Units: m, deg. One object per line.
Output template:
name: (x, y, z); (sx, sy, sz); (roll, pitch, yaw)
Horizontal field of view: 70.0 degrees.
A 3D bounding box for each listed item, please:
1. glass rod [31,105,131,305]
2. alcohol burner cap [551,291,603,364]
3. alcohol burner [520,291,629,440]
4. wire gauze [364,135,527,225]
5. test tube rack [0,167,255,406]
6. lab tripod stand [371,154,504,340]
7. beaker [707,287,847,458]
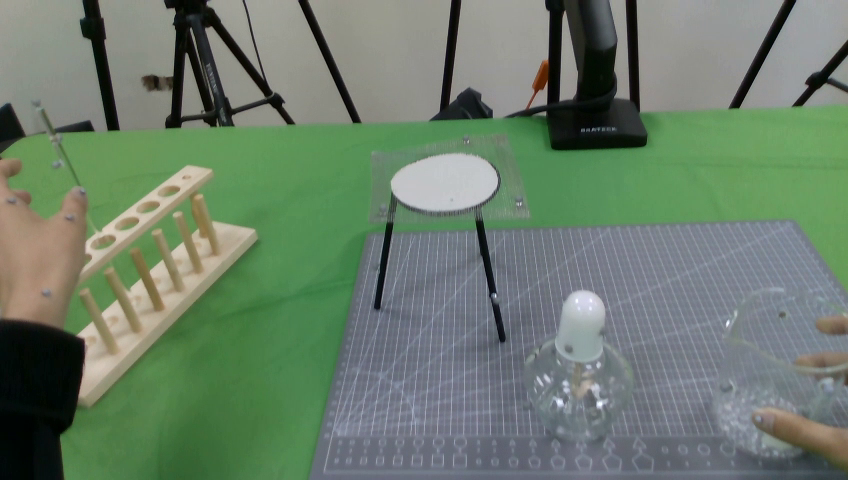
glass rod: (-0.301, -0.023, 0.539); (0.008, 0.201, 0.008); (-7, 31, 4)
alcohol burner cap: (0.104, 0.057, 0.407); (0.034, 0.048, 0.033); (-1, 35, 1)
alcohol burner: (0.107, 0.085, 0.429); (0.078, 0.120, 0.077); (-4, 35, 3)
wire gauze: (0.012, -0.049, 0.489); (0.125, 0.011, 0.120); (-5, 37, 1)
test tube rack: (-0.268, 0.030, 0.575); (0.066, 0.086, 0.241); (11, 40, 20)
lab tripod stand: (0.018, 0.004, 0.530); (0.148, 0.133, 0.147); (-4, 39, 4)
beaker: (0.236, 0.094, 0.413); (0.084, 0.101, 0.073); (-4, 37, 4)
